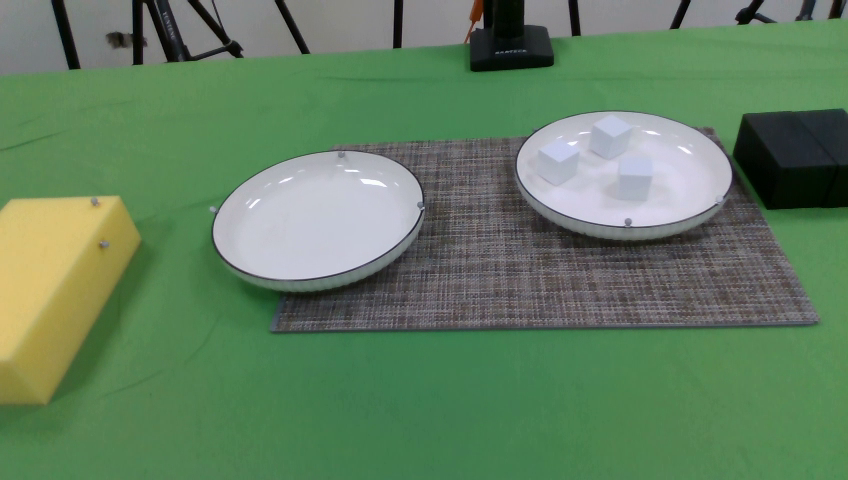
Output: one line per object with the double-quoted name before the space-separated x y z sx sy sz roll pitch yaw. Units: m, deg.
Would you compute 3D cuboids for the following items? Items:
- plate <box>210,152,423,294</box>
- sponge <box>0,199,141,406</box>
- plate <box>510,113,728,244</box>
"plate" -0.103 -0.016 0.604 0.209 0.038 0.207 -3 40 3
"sponge" -0.361 0.048 0.549 0.118 0.061 0.205 -2 41 4
"plate" 0.192 -0.061 0.617 0.207 0.039 0.205 -3 41 3
